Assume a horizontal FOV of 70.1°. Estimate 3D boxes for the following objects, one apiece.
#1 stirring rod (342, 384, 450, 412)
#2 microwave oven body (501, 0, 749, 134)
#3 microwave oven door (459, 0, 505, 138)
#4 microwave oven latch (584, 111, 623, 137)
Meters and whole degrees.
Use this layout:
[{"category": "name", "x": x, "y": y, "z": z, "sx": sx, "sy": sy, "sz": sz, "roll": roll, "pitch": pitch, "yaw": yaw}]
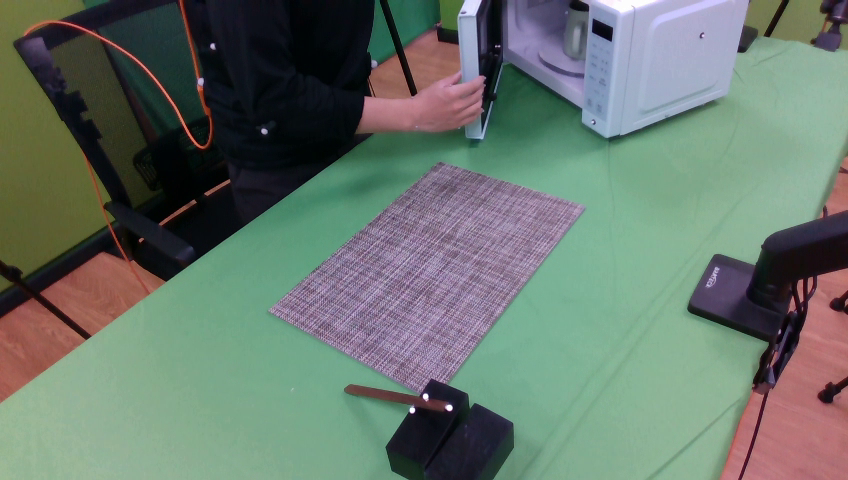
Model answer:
[{"category": "stirring rod", "x": -0.038, "y": 0.186, "z": 0.714, "sx": 0.175, "sy": 0.006, "sz": 0.014, "roll": -3, "pitch": 22, "yaw": 43}, {"category": "microwave oven body", "x": 0.382, "y": -0.444, "z": 1.246, "sx": 0.327, "sy": 0.261, "sz": 0.437, "roll": -22, "pitch": 42, "yaw": -16}, {"category": "microwave oven door", "x": 0.124, "y": -0.404, "z": 1.227, "sx": 0.039, "sy": 0.245, "sz": 0.355, "roll": 3, "pitch": 42, "yaw": 13}, {"category": "microwave oven latch", "x": 0.337, "y": -0.222, "z": 1.142, "sx": 0.030, "sy": 0.029, "sz": 0.078, "roll": -21, "pitch": 42, "yaw": -14}]
